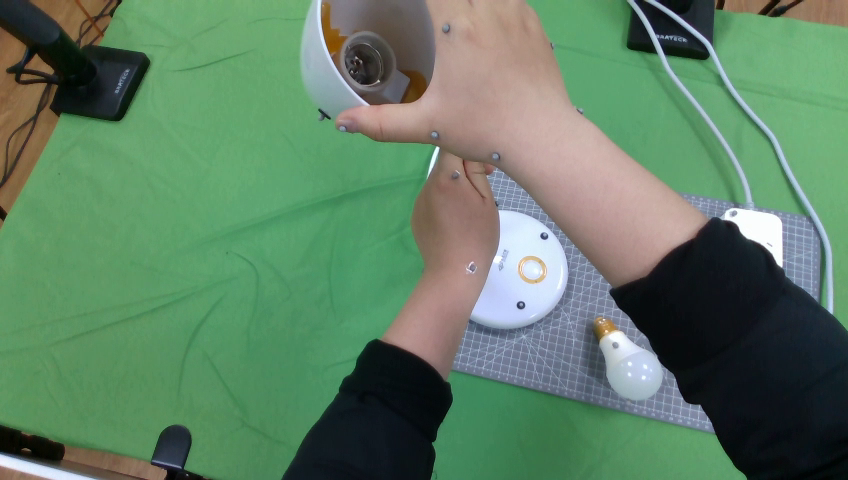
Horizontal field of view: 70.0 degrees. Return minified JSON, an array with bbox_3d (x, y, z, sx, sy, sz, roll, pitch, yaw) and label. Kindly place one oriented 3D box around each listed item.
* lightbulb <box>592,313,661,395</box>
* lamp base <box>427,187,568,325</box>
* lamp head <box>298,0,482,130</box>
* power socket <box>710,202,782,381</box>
[{"bbox_3d":[0.230,0.129,0.703,0.059,0.060,0.106,-24,52,-6],"label":"lightbulb"},{"bbox_3d":[0.082,-0.002,0.696,0.179,0.181,0.159,6,68,9],"label":"lamp base"},{"bbox_3d":[-0.033,-0.122,0.413,0.113,0.122,0.112,2,85,-22],"label":"lamp head"},{"bbox_3d":[0.390,0.055,0.732,0.072,0.033,0.225,10,68,7],"label":"power socket"}]
